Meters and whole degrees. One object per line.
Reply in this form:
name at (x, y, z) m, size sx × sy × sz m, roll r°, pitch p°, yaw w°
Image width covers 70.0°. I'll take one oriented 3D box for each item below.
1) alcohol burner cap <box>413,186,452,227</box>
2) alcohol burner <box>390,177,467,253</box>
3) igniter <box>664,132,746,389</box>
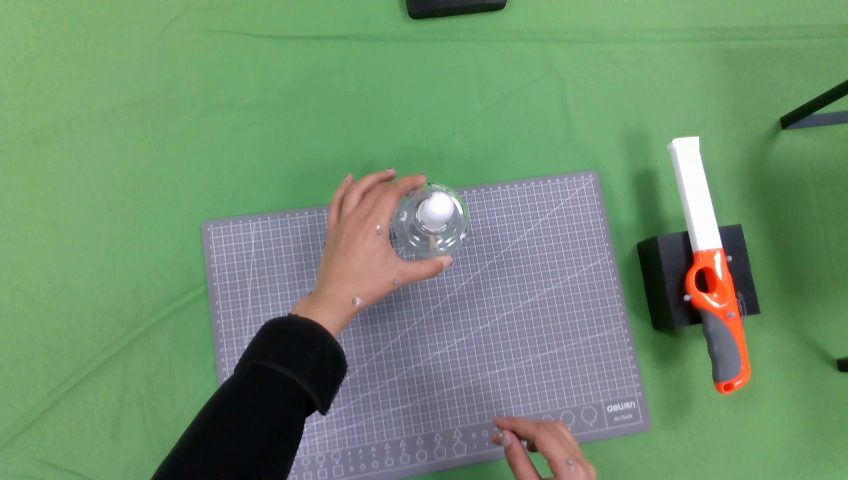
alcohol burner cap at (0.009, -0.032, 0.560) m, size 0.034 × 0.048 × 0.033 m, roll 2°, pitch 78°, yaw -9°
alcohol burner at (0.008, -0.028, 0.590) m, size 0.078 × 0.119 × 0.077 m, roll 2°, pitch 80°, yaw -9°
igniter at (0.299, 0.017, 0.648) m, size 0.057 × 0.025 × 0.275 m, roll -5°, pitch 79°, yaw -7°
